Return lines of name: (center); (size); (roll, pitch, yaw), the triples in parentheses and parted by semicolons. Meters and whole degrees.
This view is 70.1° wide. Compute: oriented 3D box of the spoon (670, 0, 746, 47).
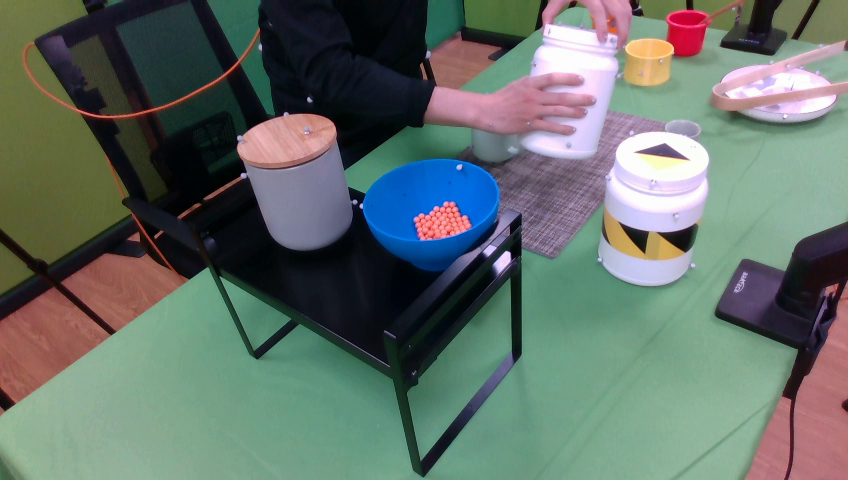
spoon: (0.629, -0.485, 1.350); (0.022, 0.193, 0.042); (48, 54, -7)

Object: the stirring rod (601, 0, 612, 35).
stirring rod: (0.440, -0.552, 1.463); (0.014, 0.006, 0.175); (-7, 83, 2)

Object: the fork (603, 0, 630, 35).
fork: (0.481, -0.556, 1.452); (0.028, 0.019, 0.207); (40, 103, 39)

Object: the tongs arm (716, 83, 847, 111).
tongs arm: (0.738, -0.281, 1.134); (0.388, 0.028, 0.028); (-9, 47, -5)

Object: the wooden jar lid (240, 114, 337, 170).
wooden jar lid: (-0.149, -0.106, 0.673); (0.108, 0.021, 0.108); (-6, 38, 5)

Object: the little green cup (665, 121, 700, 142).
little green cup: (0.473, -0.188, 1.113); (0.061, 0.039, 0.061); (-5, 40, 4)

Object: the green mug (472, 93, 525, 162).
green mug: (0.143, -0.201, 1.122); (0.093, 0.105, 0.124); (-29, 45, -23)

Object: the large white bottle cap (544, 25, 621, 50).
large white bottle cap: (0.241, -0.310, 0.922); (0.115, 0.018, 0.114); (8, 24, -3)

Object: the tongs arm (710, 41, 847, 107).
tongs arm: (0.712, -0.332, 1.194); (0.386, 0.026, 0.050); (-19, 45, -16)

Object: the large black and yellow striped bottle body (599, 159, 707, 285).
large black and yellow striped bottle body: (0.320, -0.042, 0.854); (0.131, 0.185, 0.130); (-4, 41, 4)

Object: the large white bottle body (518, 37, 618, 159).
large white bottle body: (0.229, -0.232, 0.956); (0.131, 0.185, 0.130); (7, 24, -3)

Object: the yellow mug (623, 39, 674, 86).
yellow mug: (0.484, -0.398, 1.334); (0.100, 0.064, 0.130); (-18, 40, -11)

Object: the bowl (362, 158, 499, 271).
bowl: (0.011, -0.019, 0.679); (0.151, 0.077, 0.150); (-5, 41, 4)

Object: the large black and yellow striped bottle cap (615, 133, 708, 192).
large black and yellow striped bottle cap: (0.312, -0.105, 0.798); (0.115, 0.019, 0.114); (-5, 41, 5)

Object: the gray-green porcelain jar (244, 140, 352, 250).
gray-green porcelain jar: (-0.144, -0.060, 0.714); (0.106, 0.127, 0.105); (-4, 41, 4)

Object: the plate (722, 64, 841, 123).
plate: (0.695, -0.282, 1.189); (0.207, 0.039, 0.206); (-4, 40, 4)
